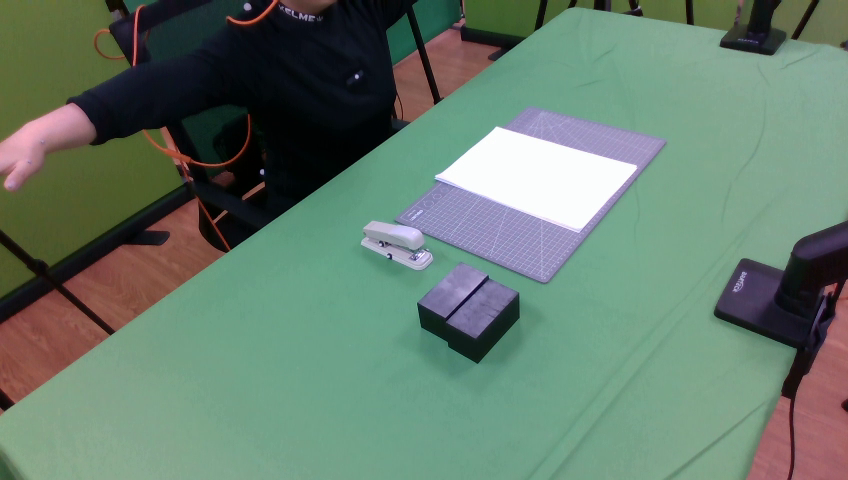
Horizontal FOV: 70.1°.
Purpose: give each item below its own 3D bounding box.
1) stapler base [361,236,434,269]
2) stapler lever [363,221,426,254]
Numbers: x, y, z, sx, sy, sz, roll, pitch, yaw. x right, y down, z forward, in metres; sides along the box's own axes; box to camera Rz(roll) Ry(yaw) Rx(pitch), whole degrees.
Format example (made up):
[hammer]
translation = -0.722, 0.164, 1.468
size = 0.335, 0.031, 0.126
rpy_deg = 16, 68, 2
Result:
[stapler base]
translation = -0.044, 0.009, 0.974
size = 0.129, 0.024, 0.041
rpy_deg = 21, 46, 32
[stapler lever]
translation = -0.048, -0.011, 0.958
size = 0.117, 0.040, 0.027
rpy_deg = 21, 46, 32
